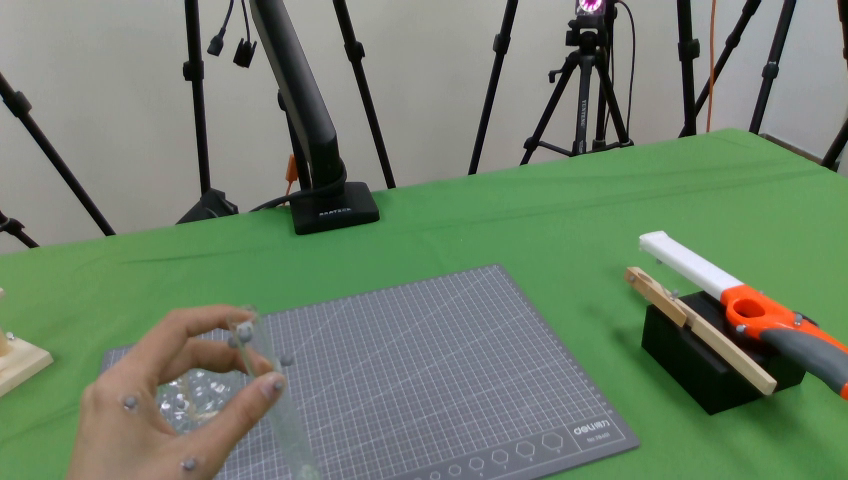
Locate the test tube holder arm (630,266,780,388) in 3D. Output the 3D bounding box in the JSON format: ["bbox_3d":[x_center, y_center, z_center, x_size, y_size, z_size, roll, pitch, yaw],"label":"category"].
[{"bbox_3d":[0.243,0.071,0.543,0.013,0.015,0.176,-12,31,-20],"label":"test tube holder arm"}]

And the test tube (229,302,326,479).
[{"bbox_3d":[-0.076,0.096,0.334,0.017,0.151,0.017,-7,33,5],"label":"test tube"}]

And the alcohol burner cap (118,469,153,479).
[{"bbox_3d":[-0.215,0.193,0.453,0.034,0.048,0.033,-2,31,2],"label":"alcohol burner cap"}]

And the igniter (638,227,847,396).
[{"bbox_3d":[0.292,0.053,0.562,0.057,0.025,0.273,-13,29,-13],"label":"igniter"}]

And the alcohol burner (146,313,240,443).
[{"bbox_3d":[-0.199,0.113,0.515,0.078,0.120,0.077,-3,29,2],"label":"alcohol burner"}]

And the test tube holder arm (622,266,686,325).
[{"bbox_3d":[0.221,0.052,0.578,0.010,0.015,0.087,-11,31,-18],"label":"test tube holder arm"}]

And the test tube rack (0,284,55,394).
[{"bbox_3d":[-0.474,0.137,0.536,0.066,0.086,0.242,14,35,26],"label":"test tube rack"}]
